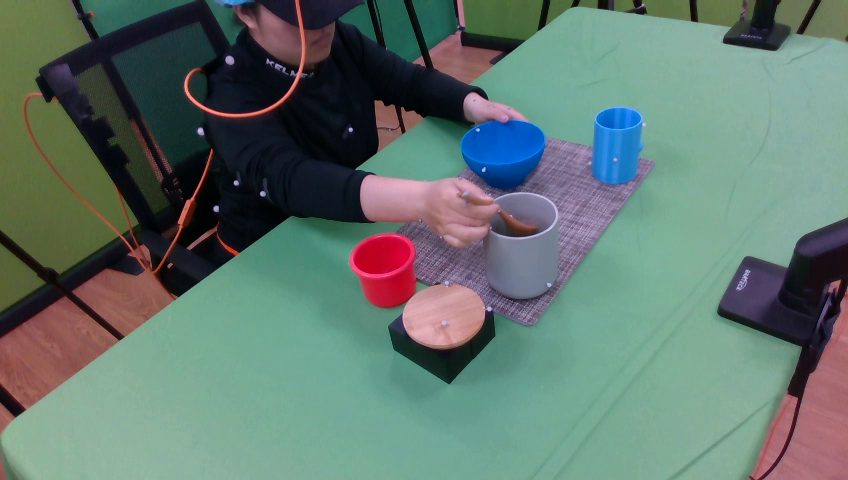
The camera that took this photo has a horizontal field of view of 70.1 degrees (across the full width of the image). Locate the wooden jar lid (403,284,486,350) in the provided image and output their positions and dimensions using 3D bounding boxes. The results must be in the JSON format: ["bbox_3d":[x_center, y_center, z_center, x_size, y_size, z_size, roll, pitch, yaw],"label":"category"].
[{"bbox_3d":[0.027,0.101,0.786,0.108,0.021,0.108,-5,39,5],"label":"wooden jar lid"}]

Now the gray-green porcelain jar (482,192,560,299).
[{"bbox_3d":[0.139,0.012,0.858,0.106,0.127,0.105,-6,40,5],"label":"gray-green porcelain jar"}]

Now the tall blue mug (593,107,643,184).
[{"bbox_3d":[0.330,-0.172,1.052,0.078,0.108,0.106,-12,40,0],"label":"tall blue mug"}]

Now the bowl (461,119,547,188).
[{"bbox_3d":[0.144,-0.146,1.082,0.151,0.077,0.150,-6,40,5],"label":"bowl"}]

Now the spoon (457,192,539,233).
[{"bbox_3d":[0.099,-0.037,0.808,0.041,0.195,0.021,10,81,39],"label":"spoon"}]
